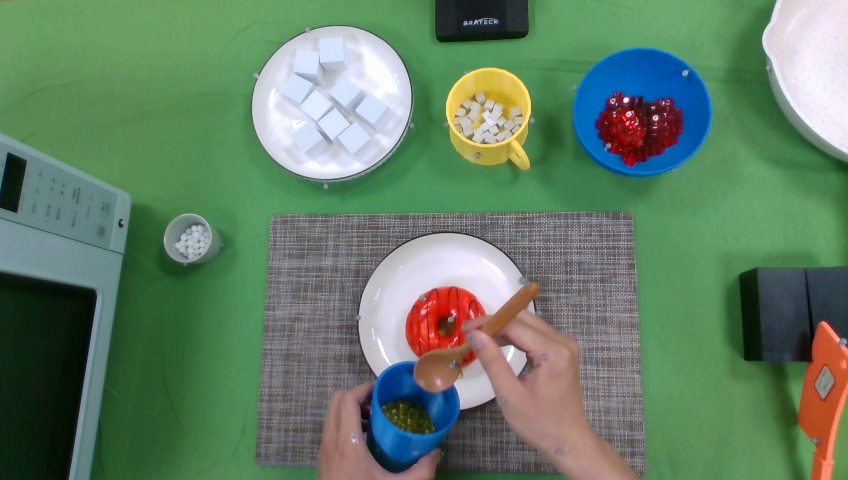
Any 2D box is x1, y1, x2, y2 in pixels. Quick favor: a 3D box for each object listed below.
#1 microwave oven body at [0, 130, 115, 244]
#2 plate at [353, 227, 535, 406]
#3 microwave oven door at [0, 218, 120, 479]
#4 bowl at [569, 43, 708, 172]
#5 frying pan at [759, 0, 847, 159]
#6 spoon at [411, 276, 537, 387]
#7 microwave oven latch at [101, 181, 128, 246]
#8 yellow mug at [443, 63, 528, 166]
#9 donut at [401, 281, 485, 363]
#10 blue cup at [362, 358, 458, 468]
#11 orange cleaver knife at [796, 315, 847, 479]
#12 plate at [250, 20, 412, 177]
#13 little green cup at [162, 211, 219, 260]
[{"bbox_3d":[-0.564,0.116,0.652,0.326,0.261,0.440,3,81,6],"label":"microwave oven body"},{"bbox_3d":[0.023,0.088,0.708,0.209,0.038,0.208,-1,80,6],"label":"plate"},{"bbox_3d":[-0.423,0.164,0.623,0.039,0.245,0.354,2,80,7],"label":"microwave oven door"},{"bbox_3d":[0.242,-0.143,0.710,0.151,0.077,0.151,-1,80,6],"label":"bowl"},{"bbox_3d":[0.521,-0.118,0.662,0.306,0.103,0.485,5,72,8],"label":"frying pan"},{"bbox_3d":[0.040,0.082,0.514,0.042,0.194,0.021,36,50,-3],"label":"spoon"},{"bbox_3d":[-0.395,-0.034,0.759,0.030,0.029,0.079,6,81,7],"label":"microwave oven latch"},{"bbox_3d":[0.084,-0.142,0.733,0.100,0.064,0.130,-37,79,-1],"label":"yellow mug"},{"bbox_3d":[0.022,0.095,0.696,0.099,0.048,0.099,-1,83,7],"label":"donut"},{"bbox_3d":[-0.022,0.181,0.606,0.093,0.101,0.091,11,47,-12],"label":"blue cup"},{"bbox_3d":[0.409,0.183,0.632,0.012,0.077,0.212,-1,109,6],"label":"orange cleaver knife"},{"bbox_3d":[-0.116,-0.178,0.775,0.207,0.039,0.207,-1,80,6],"label":"plate"},{"bbox_3d":[-0.290,-0.003,0.761,0.061,0.039,0.061,-1,81,5],"label":"little green cup"}]
